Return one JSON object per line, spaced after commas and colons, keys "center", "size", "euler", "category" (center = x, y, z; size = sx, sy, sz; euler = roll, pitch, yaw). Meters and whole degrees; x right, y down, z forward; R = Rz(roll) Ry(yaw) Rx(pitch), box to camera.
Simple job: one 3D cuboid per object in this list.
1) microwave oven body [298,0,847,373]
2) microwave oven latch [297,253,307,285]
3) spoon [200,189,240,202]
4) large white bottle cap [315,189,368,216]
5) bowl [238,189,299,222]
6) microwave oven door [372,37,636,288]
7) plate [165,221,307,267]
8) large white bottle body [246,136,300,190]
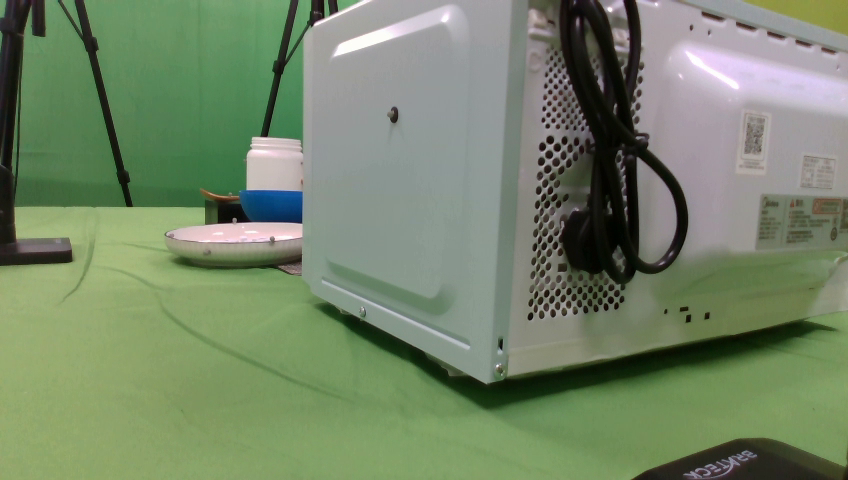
{"center": [0.151, -0.055, 0.542], "size": [0.444, 0.260, 0.324], "euler": [-2, 7, -33], "category": "microwave oven body"}
{"center": [-0.082, 0.027, 0.582], "size": [0.079, 0.029, 0.030], "euler": [-1, 7, -32], "category": "microwave oven latch"}
{"center": [-0.339, -0.080, 1.190], "size": [0.194, 0.021, 0.041], "euler": [5, 1, -19], "category": "spoon"}
{"center": [-0.176, -0.082, 1.298], "size": [0.115, 0.018, 0.114], "euler": [11, 24, -4], "category": "large white bottle cap"}
{"center": [-0.245, -0.046, 1.053], "size": [0.151, 0.077, 0.151], "euler": [3, 8, 0], "category": "bowl"}
{"center": [0.109, -0.080, 0.686], "size": [0.358, 0.243, 0.039], "euler": [-2, 9, -33], "category": "microwave oven door"}
{"center": [-0.241, 0.004, 0.829], "size": [0.209, 0.038, 0.209], "euler": [0, 9, 0], "category": "plate"}
{"center": [-0.343, -0.144, 1.400], "size": [0.131, 0.184, 0.130], "euler": [2, 7, 0], "category": "large white bottle body"}
